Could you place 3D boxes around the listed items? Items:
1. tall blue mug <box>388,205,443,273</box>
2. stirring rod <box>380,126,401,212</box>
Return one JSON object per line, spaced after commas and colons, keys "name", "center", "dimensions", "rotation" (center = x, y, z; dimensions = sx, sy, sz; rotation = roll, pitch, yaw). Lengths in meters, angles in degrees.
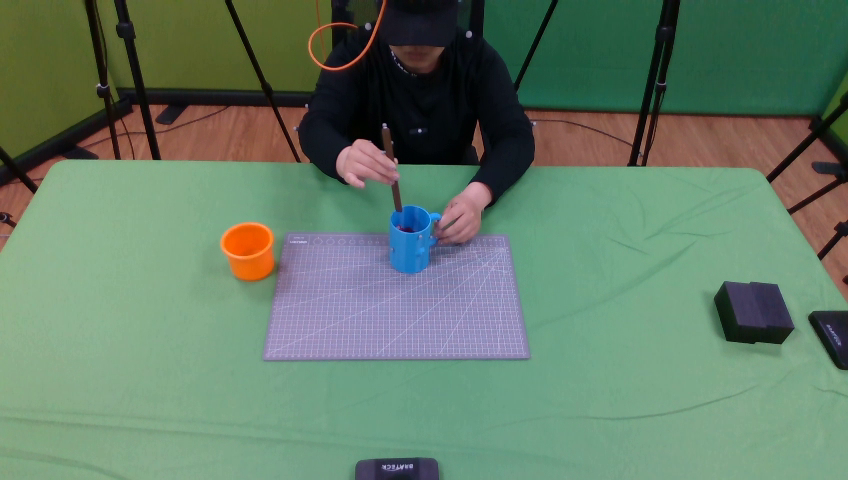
{"name": "tall blue mug", "center": [-0.020, -0.010, 1.144], "dimensions": [0.077, 0.108, 0.107], "rotation": [23, 49, 18]}
{"name": "stirring rod", "center": [-0.056, -0.117, 1.037], "dimensions": [0.014, 0.177, 0.006], "rotation": [10, 44, 19]}
